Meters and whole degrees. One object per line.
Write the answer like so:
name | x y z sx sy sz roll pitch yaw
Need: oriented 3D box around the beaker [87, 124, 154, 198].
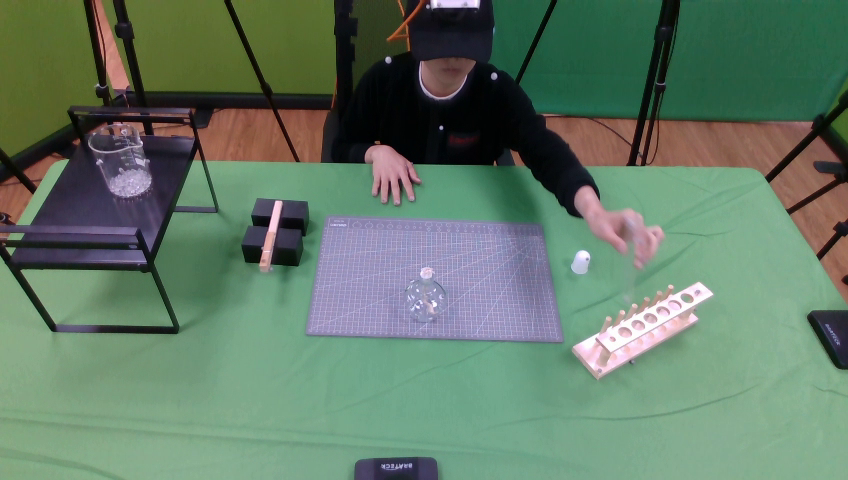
beaker | -0.482 -0.124 0.978 0.084 0.101 0.073 9 46 4

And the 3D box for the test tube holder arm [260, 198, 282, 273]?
test tube holder arm | -0.282 -0.012 1.120 0.015 0.013 0.177 -4 49 4

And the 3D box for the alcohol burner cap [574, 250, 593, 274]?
alcohol burner cap | 0.308 0.039 1.163 0.034 0.048 0.033 2 47 -1

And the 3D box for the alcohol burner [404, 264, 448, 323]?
alcohol burner | 0.003 0.087 1.042 0.078 0.120 0.077 1 45 0

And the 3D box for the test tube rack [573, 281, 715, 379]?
test tube rack | 0.378 0.140 1.038 0.242 0.085 0.066 -22 51 -23

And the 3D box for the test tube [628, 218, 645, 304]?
test tube | 0.321 0.035 0.918 0.017 0.151 0.017 -5 31 3

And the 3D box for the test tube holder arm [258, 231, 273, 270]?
test tube holder arm | -0.282 0.018 1.086 0.015 0.010 0.087 -4 47 4
